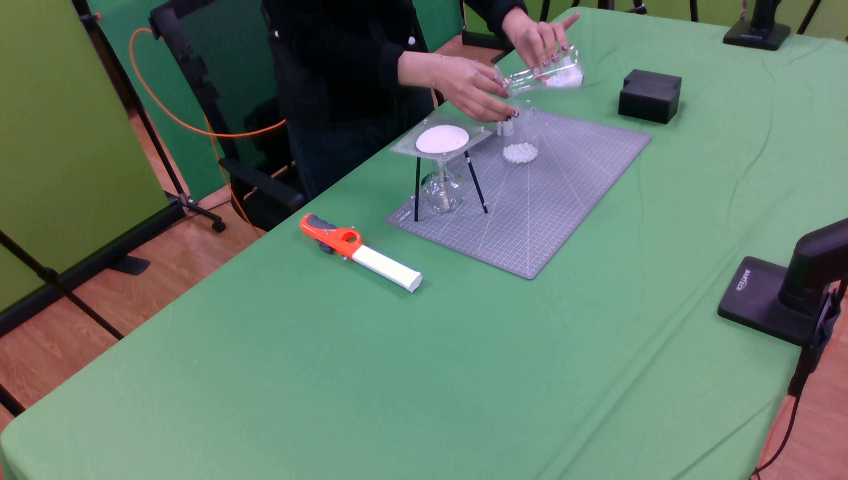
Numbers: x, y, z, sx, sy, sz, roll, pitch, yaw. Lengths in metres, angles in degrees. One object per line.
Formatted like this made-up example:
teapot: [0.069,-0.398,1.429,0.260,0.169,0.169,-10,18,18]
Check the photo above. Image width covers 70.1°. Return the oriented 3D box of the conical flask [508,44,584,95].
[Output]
conical flask: [0.207,-0.283,1.036,0.122,0.076,0.075,-15,40,5]

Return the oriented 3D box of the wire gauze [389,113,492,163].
wire gauze: [0.026,-0.164,0.977,0.120,0.011,0.125,24,49,35]

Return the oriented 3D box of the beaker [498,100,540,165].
beaker: [0.180,-0.196,1.117,0.074,0.101,0.083,-25,43,-17]

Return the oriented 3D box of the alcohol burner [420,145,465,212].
alcohol burner: [0.030,-0.108,1.030,0.078,0.119,0.077,-5,38,4]

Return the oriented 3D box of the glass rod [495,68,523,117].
glass rod: [0.147,-0.249,1.036,0.008,0.201,0.008,-4,78,20]

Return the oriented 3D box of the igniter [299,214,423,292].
igniter: [-0.112,0.016,0.983,0.274,0.025,0.057,26,62,35]

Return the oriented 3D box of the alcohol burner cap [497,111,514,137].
alcohol burner cap: [0.163,-0.235,1.211,0.034,0.048,0.033,-7,40,6]

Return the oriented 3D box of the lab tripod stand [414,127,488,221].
lab tripod stand: [0.035,-0.114,1.021,0.148,0.132,0.147,-7,39,6]
